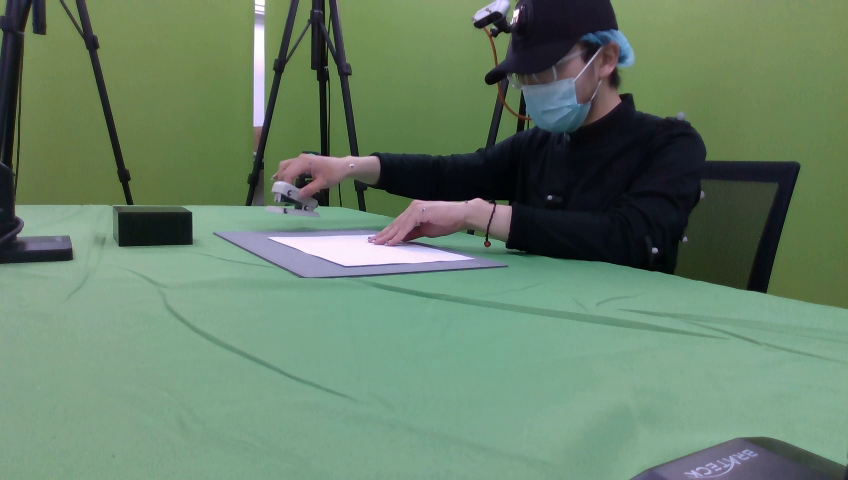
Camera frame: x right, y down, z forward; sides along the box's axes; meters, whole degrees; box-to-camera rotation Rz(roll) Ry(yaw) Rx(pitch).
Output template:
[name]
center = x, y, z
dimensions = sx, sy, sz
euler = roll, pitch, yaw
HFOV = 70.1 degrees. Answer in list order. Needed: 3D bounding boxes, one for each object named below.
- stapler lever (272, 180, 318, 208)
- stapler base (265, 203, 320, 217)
[stapler lever]
center = -0.246, -0.088, 1.163
dimensions = 0.026, 0.040, 0.118
euler = 12, 1, 25
[stapler base]
center = -0.251, -0.063, 1.162
dimensions = 0.041, 0.024, 0.131
euler = 12, 1, 25
